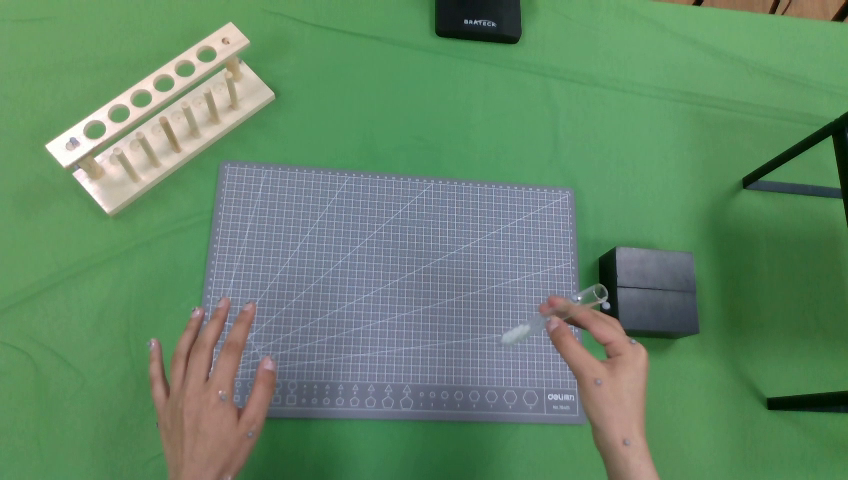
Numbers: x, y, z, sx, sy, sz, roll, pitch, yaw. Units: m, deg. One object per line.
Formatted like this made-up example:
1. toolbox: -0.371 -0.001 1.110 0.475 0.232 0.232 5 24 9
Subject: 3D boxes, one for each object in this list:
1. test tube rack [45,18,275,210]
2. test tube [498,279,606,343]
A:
1. test tube rack: -0.292 -0.145 0.700 0.242 0.085 0.066 -42 83 -18
2. test tube: 0.113 0.070 0.563 0.017 0.150 0.017 13 60 -23
